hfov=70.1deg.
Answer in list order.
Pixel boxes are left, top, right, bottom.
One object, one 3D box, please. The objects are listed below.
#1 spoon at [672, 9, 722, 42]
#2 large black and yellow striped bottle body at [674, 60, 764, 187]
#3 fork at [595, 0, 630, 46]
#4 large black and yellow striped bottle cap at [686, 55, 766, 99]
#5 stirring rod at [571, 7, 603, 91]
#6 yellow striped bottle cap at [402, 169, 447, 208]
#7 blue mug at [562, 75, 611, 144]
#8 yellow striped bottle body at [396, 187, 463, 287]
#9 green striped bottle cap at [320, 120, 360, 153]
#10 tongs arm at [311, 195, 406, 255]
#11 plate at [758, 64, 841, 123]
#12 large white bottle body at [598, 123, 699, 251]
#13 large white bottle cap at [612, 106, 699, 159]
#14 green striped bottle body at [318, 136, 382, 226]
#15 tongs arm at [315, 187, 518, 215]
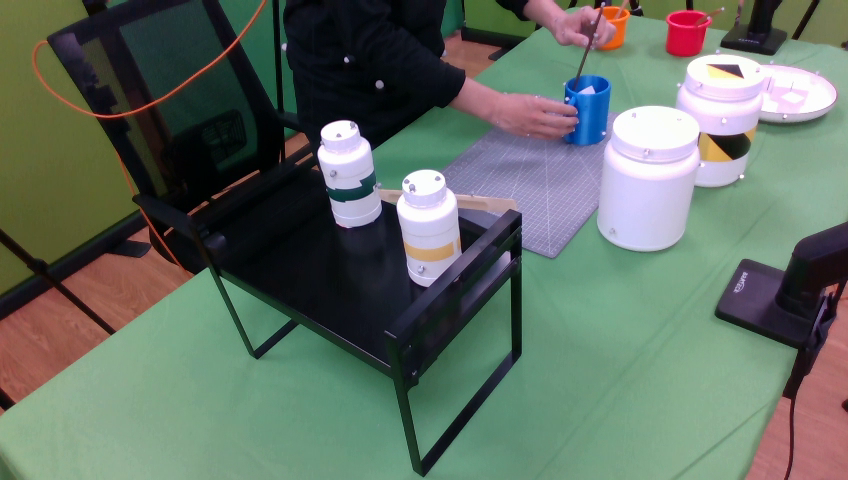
[{"bbox_3d":[0.606,-0.476,1.345,0.042,0.021,0.193,-6,-3,-2],"label":"spoon"},{"bbox_3d":[0.482,-0.196,1.008,0.131,0.185,0.130,-4,41,4],"label":"large black and yellow striped bottle body"},{"bbox_3d":[0.480,-0.556,1.453,0.028,0.019,0.207,41,104,42],"label":"fork"},{"bbox_3d":[0.474,-0.258,0.952,0.115,0.019,0.114,-5,41,5],"label":"large black and yellow striped bottle cap"},{"bbox_3d":[0.291,-0.335,1.089,0.006,0.176,0.014,10,46,0],"label":"stirring rod"},{"bbox_3d":[0.000,-0.052,0.605,0.044,0.019,0.044,-5,43,5],"label":"yellow striped bottle cap"},{"bbox_3d":[0.298,-0.239,1.143,0.081,0.106,0.117,30,54,36],"label":"blue mug"},{"bbox_3d":[0.006,-0.013,0.638,0.063,0.121,0.062,-5,41,4],"label":"yellow striped bottle body"},{"bbox_3d":[-0.097,-0.120,0.699,0.044,0.020,0.044,-3,40,3],"label":"green striped bottle cap"},{"bbox_3d":[-0.078,-0.013,0.944,0.028,0.028,0.384,-42,39,-23],"label":"tongs arm"},{"bbox_3d":[0.695,-0.283,1.189,0.207,0.039,0.206,-4,40,4],"label":"plate"},{"bbox_3d":[0.334,-0.090,0.906,0.130,0.185,0.130,-5,41,5],"label":"large white bottle body"},{"bbox_3d":[0.325,-0.153,0.850,0.115,0.018,0.114,-4,41,4],"label":"large white bottle cap"},{"bbox_3d":[-0.090,-0.081,0.733,0.063,0.120,0.063,-5,41,4],"label":"green striped bottle body"},{"bbox_3d":[-0.028,-0.060,0.988,0.382,0.027,0.051,10,44,36],"label":"tongs arm"}]
